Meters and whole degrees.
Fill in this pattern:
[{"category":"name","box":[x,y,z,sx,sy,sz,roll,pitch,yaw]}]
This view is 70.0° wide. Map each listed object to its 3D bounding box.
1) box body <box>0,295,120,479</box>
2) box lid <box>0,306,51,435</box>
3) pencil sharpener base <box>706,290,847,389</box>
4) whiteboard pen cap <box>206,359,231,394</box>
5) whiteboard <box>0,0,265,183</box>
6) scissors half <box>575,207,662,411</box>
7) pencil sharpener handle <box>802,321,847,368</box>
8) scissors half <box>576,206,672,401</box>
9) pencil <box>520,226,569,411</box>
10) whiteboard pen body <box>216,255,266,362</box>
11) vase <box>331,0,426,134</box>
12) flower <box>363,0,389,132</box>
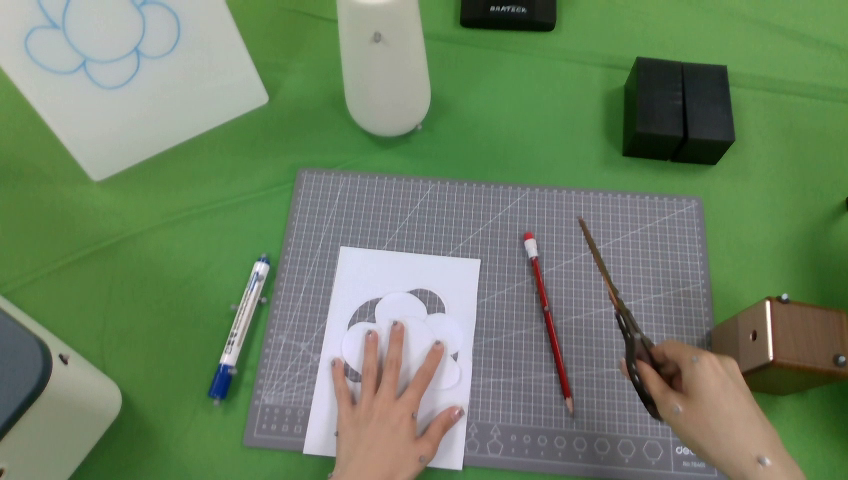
[{"category":"box body","box":[-0.489,0.127,0.512,0.362,0.161,0.253,30,71,12]},{"category":"box lid","box":[-0.491,0.096,0.444,0.370,0.015,0.262,30,70,12]},{"category":"pencil sharpener base","box":[0.318,0.094,0.553,0.077,0.107,0.061,9,67,1]},{"category":"whiteboard pen cap","box":[-0.197,0.131,0.585,0.018,0.018,0.033,10,63,5]},{"category":"whiteboard","box":[-0.339,-0.254,0.627,0.217,0.308,0.142,-28,50,-10]},{"category":"scissors half","box":[0.153,0.052,0.490,0.013,0.040,0.174,-26,70,29]},{"category":"pencil sharpener handle","box":[0.369,0.098,0.541,0.030,0.068,0.035,9,61,1]},{"category":"scissors half","box":[0.165,0.051,0.506,0.013,0.040,0.175,-27,87,35]},{"category":"pencil","box":[0.123,0.076,0.613,0.012,0.012,0.192,-9,69,-3]},{"category":"whiteboard pen body","box":[-0.186,0.079,0.609,0.017,0.017,0.140,11,66,5]},{"category":"vase","box":[-0.049,-0.198,0.627,0.098,0.201,0.097,-1,66,2]},{"category":"flower","box":[-0.056,-0.244,0.556,0.044,0.365,0.038,-2,49,3]}]
